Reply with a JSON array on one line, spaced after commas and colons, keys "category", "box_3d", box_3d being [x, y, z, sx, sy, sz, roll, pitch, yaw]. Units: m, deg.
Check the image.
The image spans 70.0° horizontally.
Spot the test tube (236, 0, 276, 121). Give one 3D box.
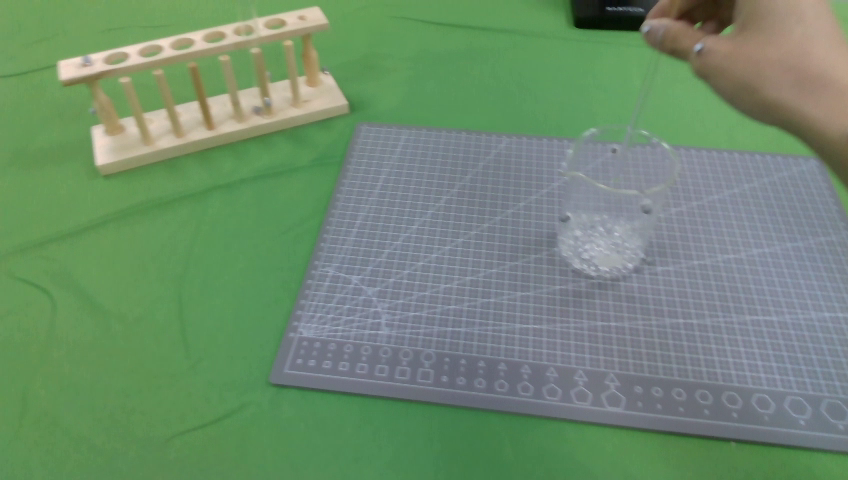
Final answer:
[{"category": "test tube", "box_3d": [-0.154, -0.175, 0.554, 0.017, 0.151, 0.017, 1, 45, -1]}]

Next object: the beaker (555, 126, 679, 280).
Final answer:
[{"category": "beaker", "box_3d": [0.138, -0.023, 0.463, 0.084, 0.101, 0.073, -8, 48, -5]}]

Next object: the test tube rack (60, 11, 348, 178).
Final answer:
[{"category": "test tube rack", "box_3d": [-0.202, -0.144, 0.586, 0.243, 0.086, 0.066, -18, 50, -16]}]

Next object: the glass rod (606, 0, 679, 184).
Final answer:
[{"category": "glass rod", "box_3d": [0.135, -0.107, 0.362, 0.008, 0.201, 0.008, 1, 49, -1]}]
